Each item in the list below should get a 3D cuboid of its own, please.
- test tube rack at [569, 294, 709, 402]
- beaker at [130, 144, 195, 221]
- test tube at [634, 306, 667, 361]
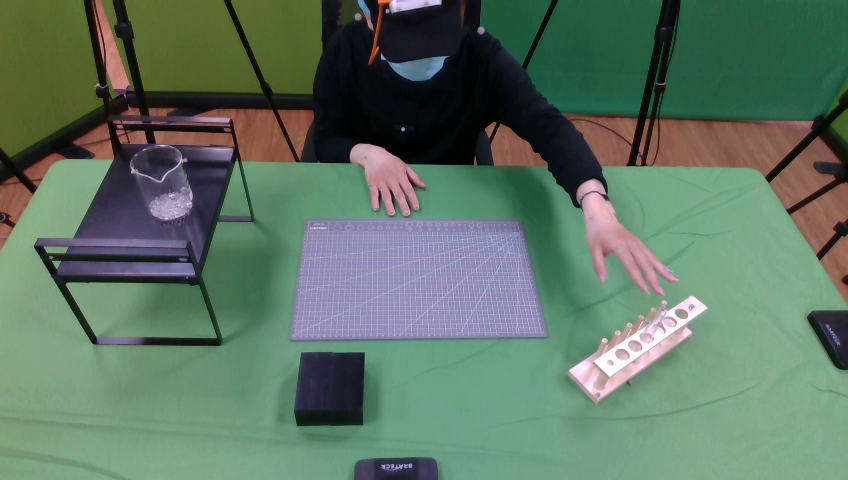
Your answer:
[{"bbox_3d":[0.360,0.167,1.014,0.242,0.085,0.066,-25,53,-25],"label":"test tube rack"},{"bbox_3d":[-0.403,-0.085,0.944,0.074,0.101,0.083,-15,50,-17],"label":"beaker"},{"bbox_3d":[0.355,0.151,0.961,0.017,0.151,0.017,0,51,0],"label":"test tube"}]
